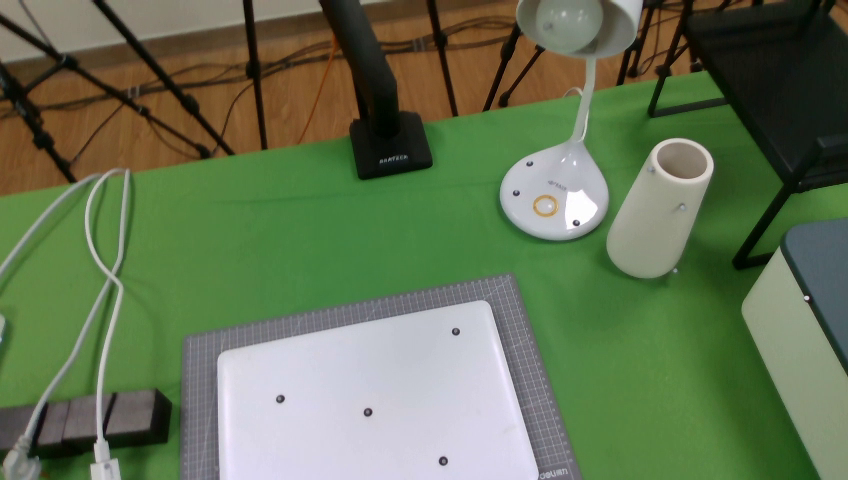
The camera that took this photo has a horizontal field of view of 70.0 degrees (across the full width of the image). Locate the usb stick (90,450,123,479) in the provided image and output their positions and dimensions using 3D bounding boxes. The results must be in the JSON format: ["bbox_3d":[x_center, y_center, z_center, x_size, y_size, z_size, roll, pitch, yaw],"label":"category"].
[{"bbox_3d":[-0.351,0.265,0.671,0.027,0.021,0.059,-14,81,29],"label":"usb stick"}]

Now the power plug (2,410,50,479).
[{"bbox_3d":[-0.436,0.237,0.681,0.035,0.053,0.072,16,64,35],"label":"power plug"}]

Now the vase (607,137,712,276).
[{"bbox_3d":[0.296,-0.039,0.768,0.098,0.202,0.097,-2,55,3],"label":"vase"}]

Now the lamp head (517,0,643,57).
[{"bbox_3d":[0.155,-0.247,0.564,0.112,0.113,0.122,15,76,12],"label":"lamp head"}]

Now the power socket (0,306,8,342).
[{"bbox_3d":[-0.589,0.175,0.757,0.072,0.033,0.224,-5,56,-2],"label":"power socket"}]

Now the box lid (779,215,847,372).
[{"bbox_3d":[0.542,0.117,0.588,0.263,0.015,0.367,-7,57,-4],"label":"box lid"}]

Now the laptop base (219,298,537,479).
[{"bbox_3d":[-0.065,0.204,0.729,0.355,0.023,0.233,-10,60,-5],"label":"laptop base"}]

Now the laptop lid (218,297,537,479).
[{"bbox_3d":[-0.065,0.199,0.718,0.357,0.013,0.239,-9,59,-4],"label":"laptop lid"}]

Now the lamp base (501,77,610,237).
[{"bbox_3d":[0.195,-0.125,0.841,0.160,0.182,0.178,18,56,14],"label":"lamp base"}]

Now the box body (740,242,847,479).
[{"bbox_3d":[0.545,0.160,0.649,0.254,0.162,0.360,-8,56,-3],"label":"box body"}]
